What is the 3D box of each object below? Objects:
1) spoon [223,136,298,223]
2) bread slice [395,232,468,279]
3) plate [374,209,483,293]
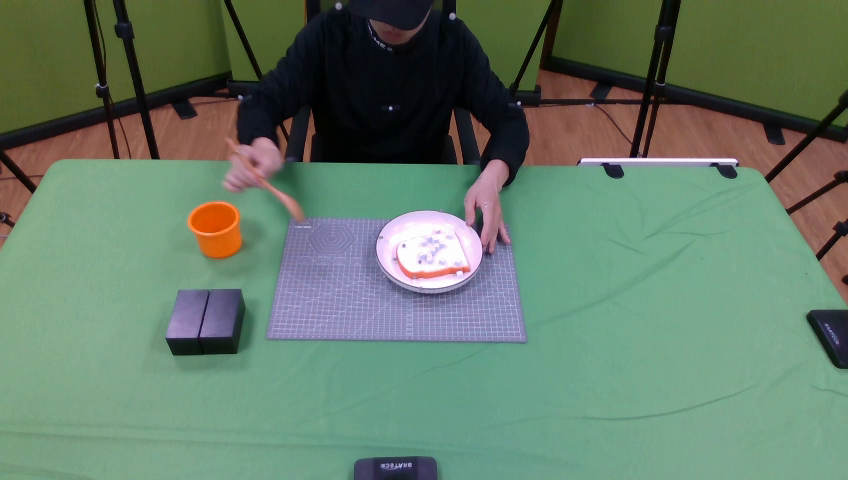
[{"bbox_3d":[-0.284,-0.104,1.061,0.021,0.194,0.041,-35,26,15],"label":"spoon"},{"bbox_3d":[0.011,0.030,1.158,0.132,0.019,0.104,-8,47,-14],"label":"bread slice"},{"bbox_3d":[0.009,0.024,1.160,0.209,0.038,0.208,2,46,-2],"label":"plate"}]
